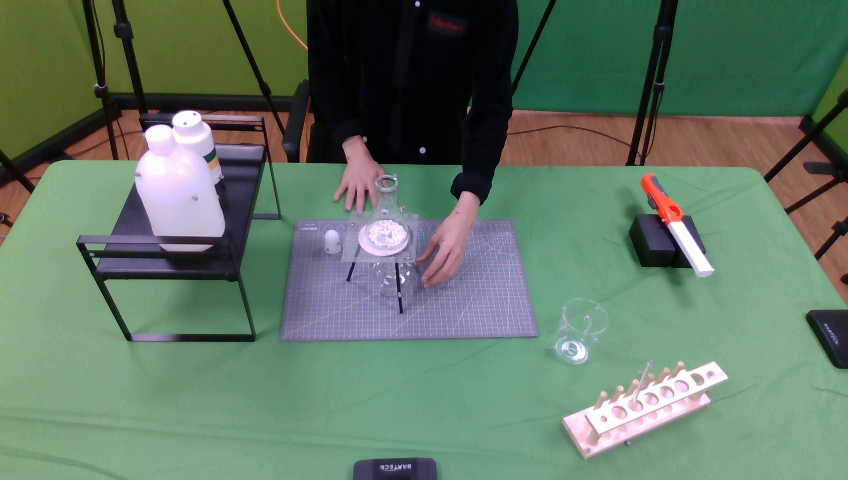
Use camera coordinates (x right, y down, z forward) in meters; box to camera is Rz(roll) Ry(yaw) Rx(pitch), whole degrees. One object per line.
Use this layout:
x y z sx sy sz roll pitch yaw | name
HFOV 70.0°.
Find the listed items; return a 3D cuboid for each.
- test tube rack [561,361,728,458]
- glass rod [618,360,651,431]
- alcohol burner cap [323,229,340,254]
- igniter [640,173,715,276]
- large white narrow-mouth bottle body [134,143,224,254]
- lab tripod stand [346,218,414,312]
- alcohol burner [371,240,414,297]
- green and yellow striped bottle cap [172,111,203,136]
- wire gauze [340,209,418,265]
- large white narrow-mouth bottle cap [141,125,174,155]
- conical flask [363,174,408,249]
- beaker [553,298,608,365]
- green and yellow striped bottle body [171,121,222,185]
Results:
0.341 0.248 0.940 0.243 0.085 0.066 -15 49 -18 | test tube rack
0.298 0.227 0.865 0.008 0.201 0.008 -2 48 2 | glass rod
-0.179 0.001 1.165 0.034 0.048 0.033 2 45 -2 | alcohol burner cap
0.495 -0.039 1.204 0.057 0.025 0.274 -2 47 -12 | igniter
-0.358 -0.075 0.875 0.102 0.195 0.101 1 48 -1 | large white narrow-mouth bottle body
-0.070 0.038 1.075 0.148 0.132 0.147 1 47 -1 | lab tripod stand
-0.057 0.046 1.082 0.078 0.120 0.077 1 46 0 | alcohol burner
-0.374 -0.185 0.958 0.045 0.020 0.045 4 46 -4 | green and yellow striped bottle cap
-0.074 -0.006 1.024 0.121 0.011 0.124 2 48 1 | wire gauze
-0.356 -0.134 0.810 0.038 0.024 0.037 2 48 -2 | large white narrow-mouth bottle cap
-0.063 -0.049 0.985 0.075 0.122 0.075 2 46 -1 | conical flask
0.260 0.154 1.015 0.073 0.101 0.084 37 54 27 | beaker
-0.375 -0.149 0.995 0.063 0.120 0.063 2 46 -2 | green and yellow striped bottle body
